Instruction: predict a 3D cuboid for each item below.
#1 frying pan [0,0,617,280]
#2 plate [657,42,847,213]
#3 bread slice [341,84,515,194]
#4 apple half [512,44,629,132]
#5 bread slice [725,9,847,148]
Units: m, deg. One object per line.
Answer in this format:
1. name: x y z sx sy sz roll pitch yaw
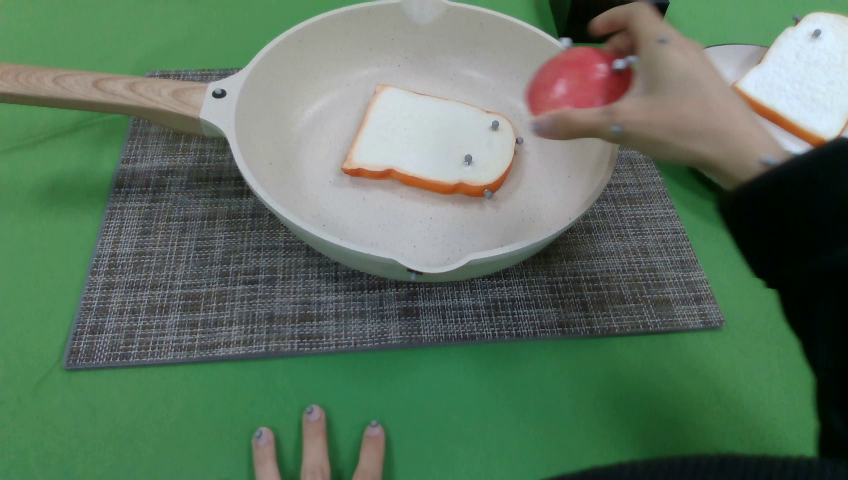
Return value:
1. frying pan: -0.103 -0.096 0.465 0.489 0.103 0.303 7 51 -9
2. plate: 0.311 -0.101 0.545 0.208 0.039 0.205 2 53 -3
3. bread slice: 0.009 -0.085 0.513 0.134 0.018 0.106 10 54 4
4. apple half: 0.096 -0.106 0.396 0.081 0.033 0.080 -2 48 2
5. bread slice: 0.367 -0.161 0.568 0.104 0.019 0.131 39 80 21
